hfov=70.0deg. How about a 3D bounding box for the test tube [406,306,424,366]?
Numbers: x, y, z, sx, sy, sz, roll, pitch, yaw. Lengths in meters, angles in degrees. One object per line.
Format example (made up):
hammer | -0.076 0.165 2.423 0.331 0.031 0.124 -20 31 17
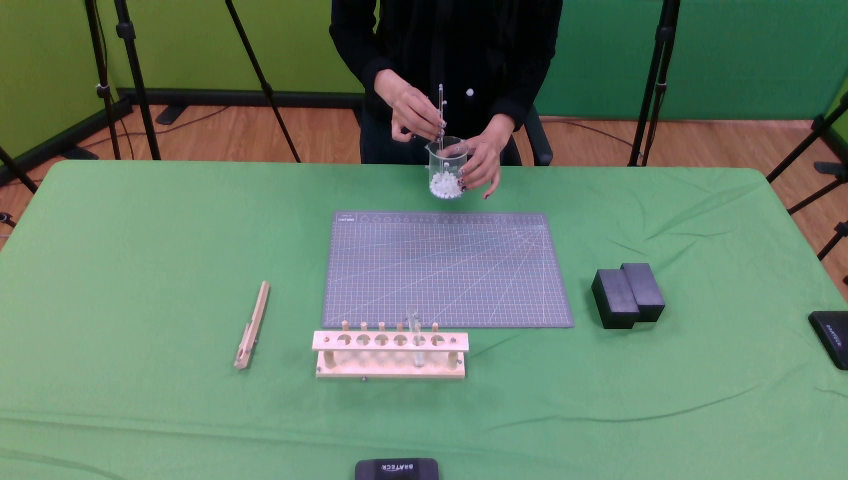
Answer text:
test tube | -0.013 0.152 0.939 0.017 0.151 0.017 -3 48 3

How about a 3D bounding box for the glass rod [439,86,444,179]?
glass rod | 0.032 -0.192 1.110 0.008 0.201 0.008 -1 44 1

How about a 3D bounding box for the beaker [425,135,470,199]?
beaker | 0.042 -0.135 1.135 0.084 0.101 0.073 10 44 11

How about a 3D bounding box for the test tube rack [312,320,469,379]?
test tube rack | -0.054 0.173 0.984 0.242 0.085 0.066 1 46 -3

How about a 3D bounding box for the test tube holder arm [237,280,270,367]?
test tube holder arm | -0.291 0.140 1.042 0.013 0.015 0.177 -17 41 22

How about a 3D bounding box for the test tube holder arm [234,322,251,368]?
test tube holder arm | -0.299 0.173 1.013 0.010 0.015 0.087 -17 41 22
